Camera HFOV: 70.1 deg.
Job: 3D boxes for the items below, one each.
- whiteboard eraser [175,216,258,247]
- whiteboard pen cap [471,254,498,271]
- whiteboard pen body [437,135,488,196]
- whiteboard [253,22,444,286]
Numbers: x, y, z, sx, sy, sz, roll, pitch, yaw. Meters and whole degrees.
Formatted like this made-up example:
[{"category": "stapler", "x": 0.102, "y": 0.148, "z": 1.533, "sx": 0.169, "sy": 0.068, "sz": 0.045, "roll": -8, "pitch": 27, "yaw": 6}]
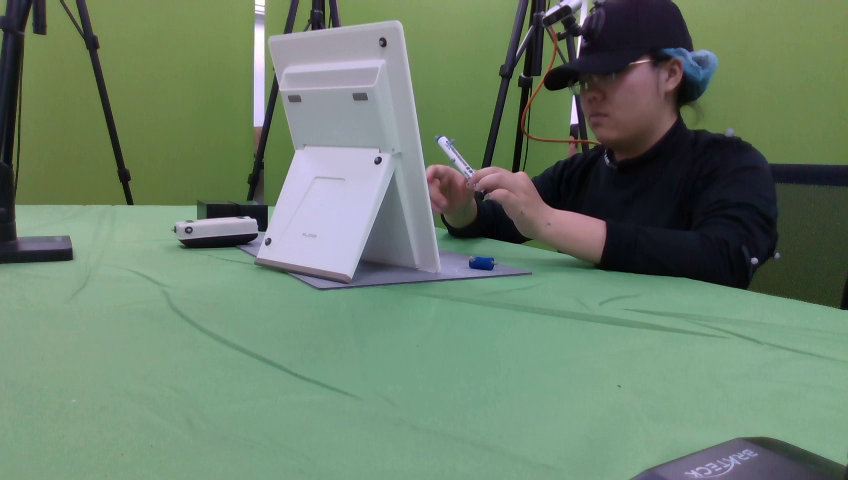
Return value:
[{"category": "whiteboard eraser", "x": -0.314, "y": -0.012, "z": 0.915, "sx": 0.113, "sy": 0.042, "sz": 0.055, "roll": -5, "pitch": 12, "yaw": -30}, {"category": "whiteboard pen cap", "x": 0.081, "y": 0.031, "z": 0.800, "sx": 0.033, "sy": 0.018, "sz": 0.018, "roll": 18, "pitch": 3, "yaw": -16}, {"category": "whiteboard pen body", "x": 0.060, "y": -0.115, "z": 0.934, "sx": 0.017, "sy": 0.017, "sz": 0.140, "roll": -4, "pitch": 47, "yaw": -40}, {"category": "whiteboard", "x": -0.125, "y": -0.081, "z": 0.715, "sx": 0.216, "sy": 0.305, "sz": 0.144, "roll": 9, "pitch": 29, "yaw": 36}]
